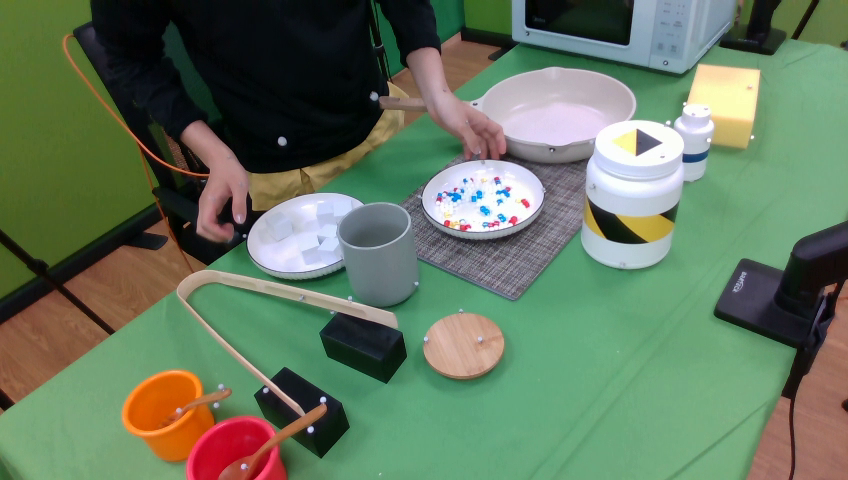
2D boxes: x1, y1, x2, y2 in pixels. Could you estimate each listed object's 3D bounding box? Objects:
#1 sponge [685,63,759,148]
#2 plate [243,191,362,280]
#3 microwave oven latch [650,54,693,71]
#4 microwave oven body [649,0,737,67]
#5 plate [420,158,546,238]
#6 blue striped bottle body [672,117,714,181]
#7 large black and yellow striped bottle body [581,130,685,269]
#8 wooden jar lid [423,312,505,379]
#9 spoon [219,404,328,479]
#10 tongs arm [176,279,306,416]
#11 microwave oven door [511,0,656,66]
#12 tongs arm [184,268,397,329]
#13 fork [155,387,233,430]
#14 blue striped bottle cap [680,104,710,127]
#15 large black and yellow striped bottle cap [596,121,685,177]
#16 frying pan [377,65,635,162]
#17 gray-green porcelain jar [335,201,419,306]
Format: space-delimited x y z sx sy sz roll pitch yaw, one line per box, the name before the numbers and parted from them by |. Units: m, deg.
sponge | 0.569 -0.263 1.164 0.117 0.061 0.207 12 45 22
plate | -0.187 -0.005 0.992 0.207 0.039 0.206 -4 41 4
microwave oven latch | 0.531 -0.386 1.301 0.078 0.029 0.030 26 51 33
microwave oven body | 0.475 -0.602 1.411 0.438 0.261 0.327 23 50 32
plate | 0.099 -0.067 1.017 0.209 0.038 0.208 -4 40 4
blue striped bottle body | 0.449 -0.165 1.022 0.063 0.121 0.063 -5 41 4
large black and yellow striped bottle body | 0.301 -0.063 0.877 0.131 0.185 0.130 -4 41 4
wooden jar lid | 0.053 0.142 0.800 0.108 0.021 0.108 -5 39 4
spoon | -0.164 0.222 0.643 0.193 0.022 0.041 -43 26 29
tongs arm | -0.255 0.132 0.801 0.028 0.028 0.384 -41 40 -23
microwave oven door | 0.350 -0.539 1.348 0.353 0.245 0.039 24 50 31
tongs arm | -0.202 0.084 0.848 0.382 0.027 0.051 11 44 35
fork | -0.264 0.191 0.688 0.206 0.018 0.028 -33 8 44
blue striped bottle cap | 0.443 -0.205 0.989 0.044 0.021 0.044 -1 41 2
large black and yellow striped bottle cap | 0.293 -0.126 0.821 0.115 0.019 0.114 -5 40 4
frying pan | 0.151 -0.255 1.177 0.488 0.103 0.306 7 41 4
gray-green porcelain jar | -0.064 0.024 0.872 0.106 0.127 0.105 -4 41 4
